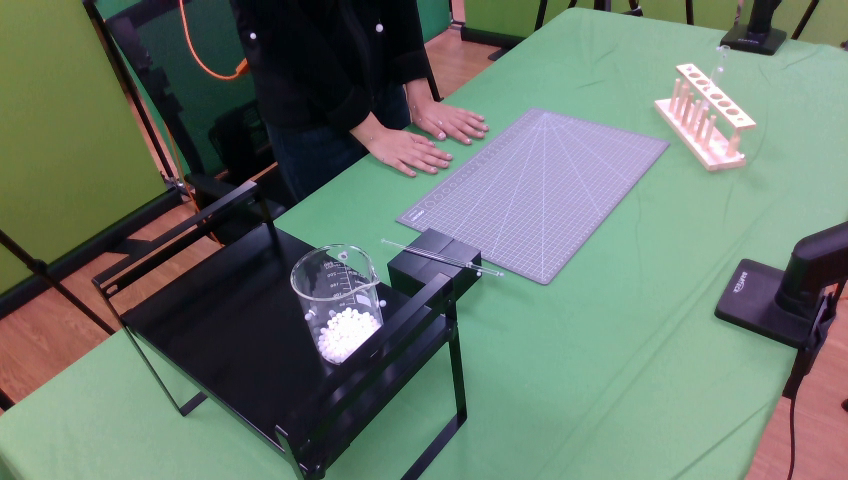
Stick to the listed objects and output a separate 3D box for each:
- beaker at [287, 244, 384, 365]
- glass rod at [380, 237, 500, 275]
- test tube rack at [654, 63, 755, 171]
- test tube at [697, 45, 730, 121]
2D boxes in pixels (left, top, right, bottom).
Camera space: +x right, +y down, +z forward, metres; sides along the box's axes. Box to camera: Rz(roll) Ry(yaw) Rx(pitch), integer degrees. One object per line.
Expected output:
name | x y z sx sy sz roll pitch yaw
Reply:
beaker | -0.076 0.064 0.575 0.083 0.101 0.074 6 43 15
glass rod | 0.019 0.023 0.881 0.198 0.008 0.008 16 46 25
test tube rack | 0.510 -0.233 1.120 0.067 0.085 0.241 -8 41 -1
test tube | 0.523 -0.280 1.096 0.017 0.151 0.017 0 44 1
